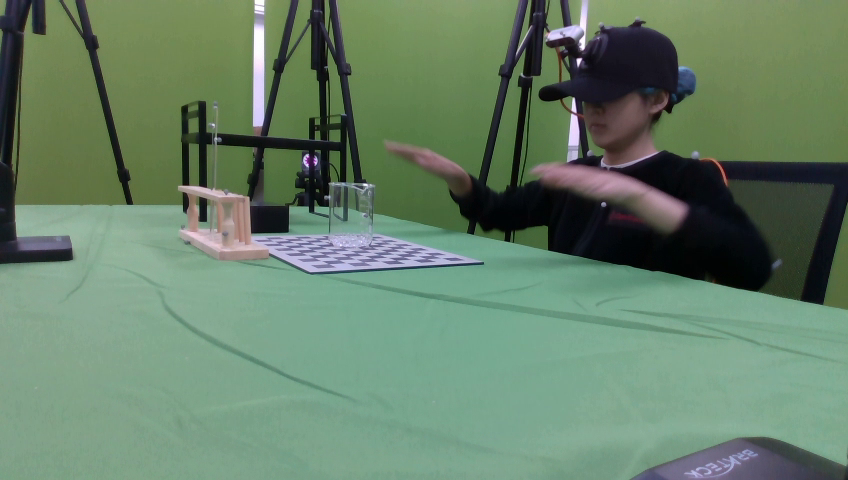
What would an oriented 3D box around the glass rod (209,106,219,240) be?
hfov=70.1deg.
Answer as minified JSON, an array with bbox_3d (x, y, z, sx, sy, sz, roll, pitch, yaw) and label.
[{"bbox_3d":[-0.305,-0.096,0.878,0.008,0.199,0.008,2,0,0],"label":"glass rod"}]

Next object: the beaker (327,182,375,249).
[{"bbox_3d":[-0.114,-0.039,0.950,0.074,0.100,0.083,-2,9,-31],"label":"beaker"}]

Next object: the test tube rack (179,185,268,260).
[{"bbox_3d":[-0.303,-0.031,0.898,0.067,0.085,0.241,-2,9,-33],"label":"test tube rack"}]
